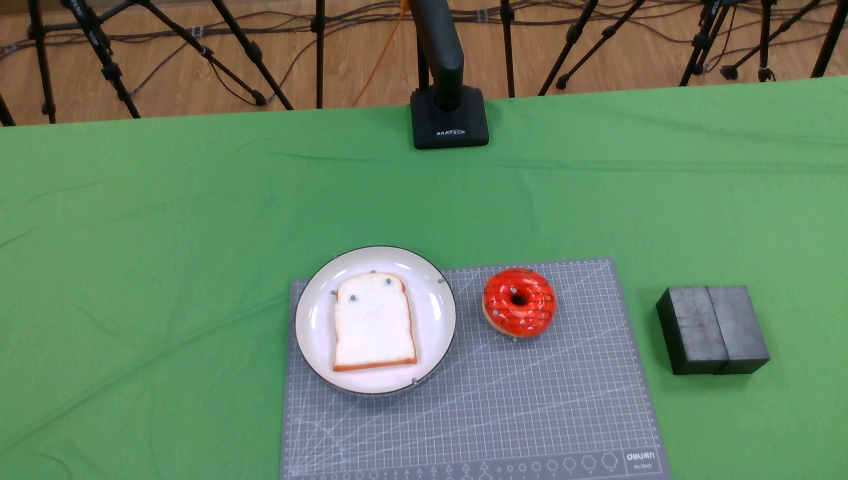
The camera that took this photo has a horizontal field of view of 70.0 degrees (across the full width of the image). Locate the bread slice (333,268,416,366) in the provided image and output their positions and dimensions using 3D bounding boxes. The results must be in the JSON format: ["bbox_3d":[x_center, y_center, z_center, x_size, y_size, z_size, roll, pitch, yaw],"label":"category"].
[{"bbox_3d":[-0.070,0.097,0.787,0.105,0.019,0.130,-6,60,-4],"label":"bread slice"}]

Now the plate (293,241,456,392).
[{"bbox_3d":[-0.062,0.099,0.783,0.209,0.038,0.207,0,59,0],"label":"plate"}]

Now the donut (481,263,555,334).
[{"bbox_3d":[0.122,0.076,0.792,0.099,0.048,0.098,1,60,-2],"label":"donut"}]
